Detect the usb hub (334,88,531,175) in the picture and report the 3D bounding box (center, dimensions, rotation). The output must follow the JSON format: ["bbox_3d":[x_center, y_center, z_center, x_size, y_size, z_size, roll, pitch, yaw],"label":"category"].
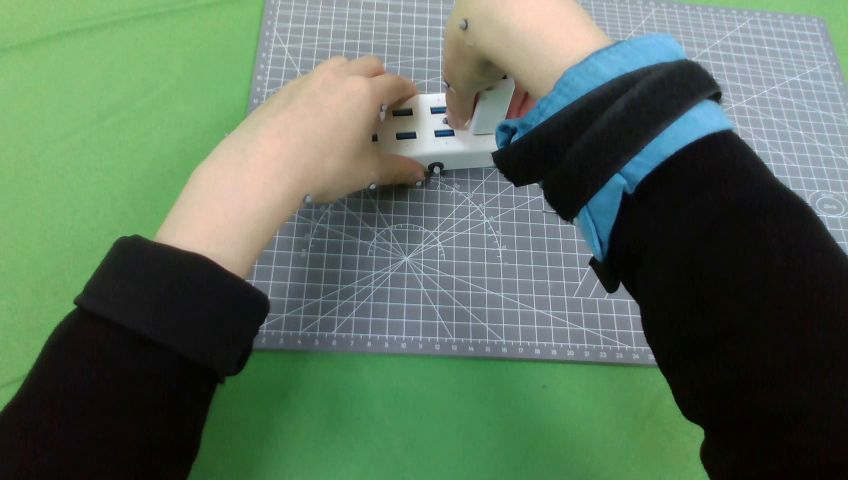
[{"bbox_3d":[0.005,-0.074,0.402,0.125,0.025,0.049,-5,66,-9],"label":"usb hub"}]

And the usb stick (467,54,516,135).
[{"bbox_3d":[0.040,-0.085,0.377,0.021,0.059,0.027,-6,60,-6],"label":"usb stick"}]
